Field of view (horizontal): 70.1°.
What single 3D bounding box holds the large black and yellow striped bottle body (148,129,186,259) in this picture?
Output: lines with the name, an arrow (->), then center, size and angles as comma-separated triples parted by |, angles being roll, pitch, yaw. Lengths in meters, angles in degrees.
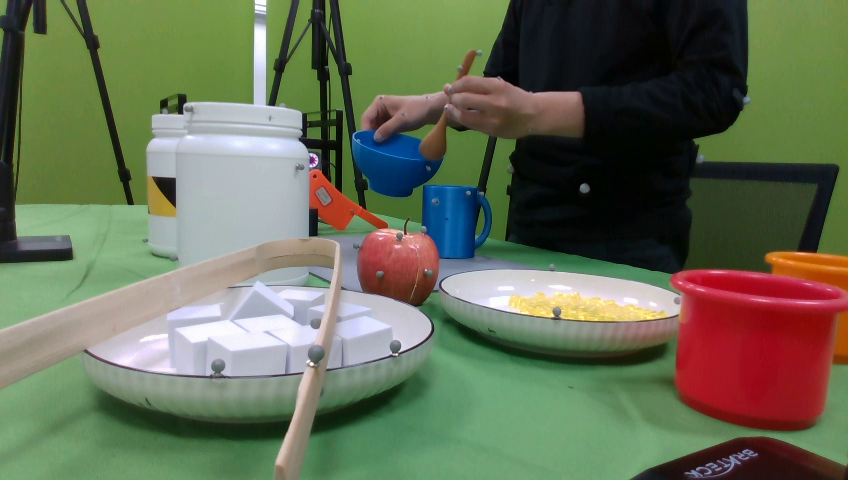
large black and yellow striped bottle body -> -0.310, -0.073, 0.838 | 0.131, 0.184, 0.130 | 2, 8, 0

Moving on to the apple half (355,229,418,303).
apple half -> -0.043, 0.027, 0.564 | 0.081, 0.081, 0.033 | 9, 5, 42

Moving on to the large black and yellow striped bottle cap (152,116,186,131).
large black and yellow striped bottle cap -> -0.309, -0.155, 0.826 | 0.115, 0.019, 0.115 | 3, 6, 0

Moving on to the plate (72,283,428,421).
plate -> -0.102, 0.066, 0.381 | 0.208, 0.039, 0.207 | 2, 7, 0

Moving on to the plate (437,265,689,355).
plate -> 0.114, 0.057, 0.517 | 0.209, 0.038, 0.209 | 3, 8, 0

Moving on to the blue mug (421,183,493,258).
blue mug -> 0.052, -0.032, 0.912 | 0.117, 0.106, 0.082 | -1, 8, -24

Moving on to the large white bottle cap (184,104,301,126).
large white bottle cap -> -0.184, -0.126, 0.618 | 0.115, 0.018, 0.115 | 2, 8, 0

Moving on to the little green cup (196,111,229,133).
little green cup -> -0.403, -0.225, 1.154 | 0.061, 0.038, 0.061 | 3, 8, 0

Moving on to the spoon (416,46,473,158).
spoon -> 0.029, -0.186, 0.842 | 0.042, 0.193, 0.021 | 18, 41, -6

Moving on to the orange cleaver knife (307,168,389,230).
orange cleaver knife -> -0.158, -0.060, 1.166 | 0.212, 0.077, 0.012 | 34, -12, -32

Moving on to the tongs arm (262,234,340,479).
tongs arm -> -0.074, 0.039, 0.349 | 0.051, 0.026, 0.384 | -2, 10, -3

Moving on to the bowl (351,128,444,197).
bowl -> -0.048, -0.120, 0.972 | 0.151, 0.077, 0.151 | 11, 23, -5

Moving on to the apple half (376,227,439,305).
apple half -> -0.016, 0.025, 0.593 | 0.080, 0.074, 0.053 | 4, 2, 43

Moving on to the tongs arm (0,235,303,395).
tongs arm -> -0.157, 0.038, 0.351 | 0.028, 0.028, 0.388 | -3, 9, 12

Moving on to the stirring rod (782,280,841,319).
stirring rod -> 0.344, 0.019, 0.460 | 0.014, 0.006, 0.176 | -13, -27, -30

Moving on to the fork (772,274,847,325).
fork -> 0.332, 0.018, 0.443 | 0.028, 0.018, 0.207 | -1, -36, -15

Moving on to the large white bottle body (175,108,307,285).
large white bottle body -> -0.188, -0.042, 0.630 | 0.131, 0.184, 0.130 | 2, 8, 0
